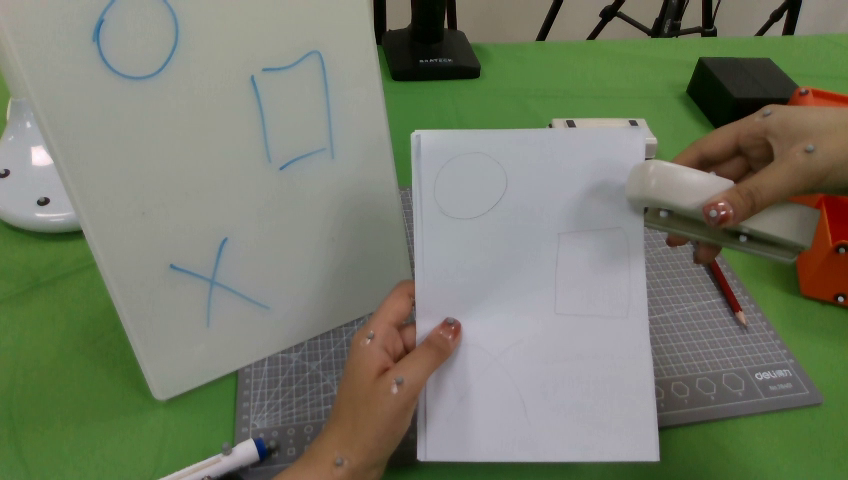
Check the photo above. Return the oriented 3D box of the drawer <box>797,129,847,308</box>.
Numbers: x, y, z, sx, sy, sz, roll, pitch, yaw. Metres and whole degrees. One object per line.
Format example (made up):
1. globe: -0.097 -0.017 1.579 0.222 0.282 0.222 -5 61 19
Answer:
1. drawer: 0.469 -0.013 0.586 0.194 0.074 0.210 15 44 11

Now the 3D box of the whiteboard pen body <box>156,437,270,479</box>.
1. whiteboard pen body: -0.167 0.159 0.383 0.141 0.017 0.017 -18 48 -25

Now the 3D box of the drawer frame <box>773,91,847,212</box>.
1. drawer frame: 0.488 -0.055 0.629 0.201 0.083 0.212 14 44 10

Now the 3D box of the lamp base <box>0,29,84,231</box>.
1. lamp base: -0.344 -0.126 0.548 0.178 0.182 0.160 24 47 22

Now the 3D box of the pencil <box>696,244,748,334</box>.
1. pencil: 0.273 0.012 0.588 0.012 0.012 0.192 0 46 -5

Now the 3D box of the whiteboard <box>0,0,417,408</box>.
1. whiteboard: -0.149 -0.072 0.463 0.218 0.308 0.142 -21 30 -23

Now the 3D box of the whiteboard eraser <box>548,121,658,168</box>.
1. whiteboard eraser: 0.201 -0.108 0.686 0.113 0.042 0.055 0 45 -6

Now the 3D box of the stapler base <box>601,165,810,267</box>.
1. stapler base: 0.183 -0.017 0.389 0.130 0.041 0.024 15 2 5

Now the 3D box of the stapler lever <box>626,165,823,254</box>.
1. stapler lever: 0.182 -0.019 0.364 0.118 0.027 0.040 15 1 6
